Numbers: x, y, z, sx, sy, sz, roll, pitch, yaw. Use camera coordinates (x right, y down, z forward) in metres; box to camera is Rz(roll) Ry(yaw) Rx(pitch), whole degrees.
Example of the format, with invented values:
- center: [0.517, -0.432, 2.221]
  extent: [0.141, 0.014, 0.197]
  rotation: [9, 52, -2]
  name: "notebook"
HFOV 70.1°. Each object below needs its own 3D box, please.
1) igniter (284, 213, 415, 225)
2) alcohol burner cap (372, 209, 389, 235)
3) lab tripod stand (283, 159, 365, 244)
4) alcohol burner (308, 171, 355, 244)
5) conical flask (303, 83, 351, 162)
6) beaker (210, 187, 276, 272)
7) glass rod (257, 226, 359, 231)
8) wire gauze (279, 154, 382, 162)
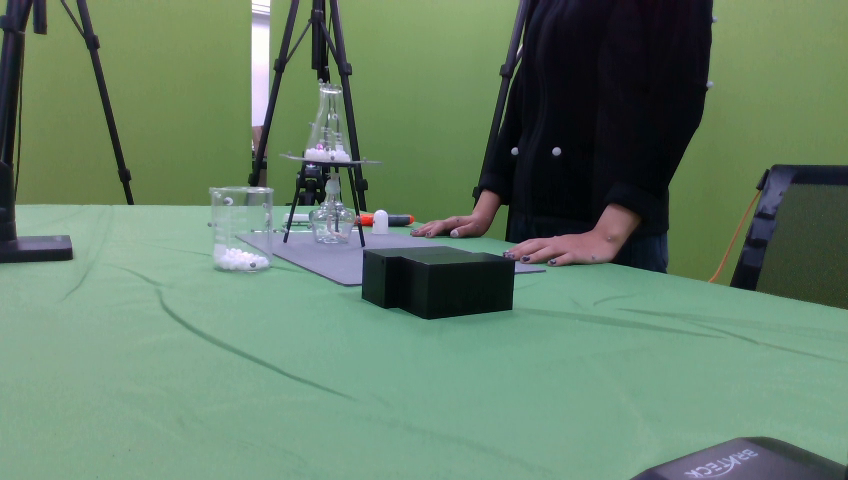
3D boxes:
- center: [-0.154, -0.045, 1.282]
  extent: [0.278, 0.025, 0.057]
  rotation: [0, -3, -20]
  name: "igniter"
- center: [-0.082, -0.035, 1.143]
  extent: [0.034, 0.048, 0.034]
  rotation: [2, 6, 0]
  name: "alcohol burner cap"
- center: [-0.151, -0.063, 0.983]
  extent: [0.148, 0.131, 0.148]
  rotation: [4, 7, 0]
  name: "lab tripod stand"
- center: [-0.151, -0.054, 0.993]
  extent: [0.078, 0.119, 0.078]
  rotation: [2, 6, 0]
  name: "alcohol burner"
- center: [-0.151, -0.186, 0.963]
  extent: [0.075, 0.122, 0.075]
  rotation: [4, 6, 0]
  name: "conical flask"
- center: [-0.224, -0.014, 0.738]
  extent: [0.084, 0.100, 0.074]
  rotation: [4, 7, 16]
  name: "beaker"
- center: [-0.216, -0.022, 1.151]
  extent: [0.201, 0.008, 0.008]
  rotation: [-2, 8, -28]
  name: "glass rod"
- center: [-0.149, -0.128, 0.974]
  extent: [0.124, 0.011, 0.122]
  rotation: [7, 6, 41]
  name: "wire gauze"
